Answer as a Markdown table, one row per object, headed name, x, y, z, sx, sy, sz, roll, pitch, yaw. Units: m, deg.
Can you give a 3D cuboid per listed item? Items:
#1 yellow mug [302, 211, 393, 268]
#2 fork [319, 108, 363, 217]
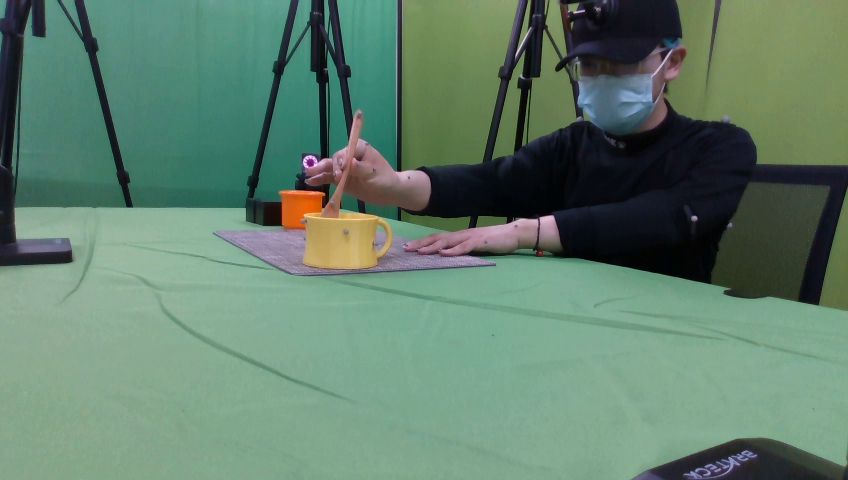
| name | x | y | z | sx | sy | sz | roll | pitch | yaw |
| --- | --- | --- | --- | --- | --- | --- | --- | --- | --- |
| yellow mug | -0.098 | -0.003 | 0.810 | 0.131 | 0.064 | 0.099 | -2 | 9 | -37 |
| fork | -0.112 | -0.087 | 0.820 | 0.028 | 0.207 | 0.018 | 21 | -15 | -26 |
